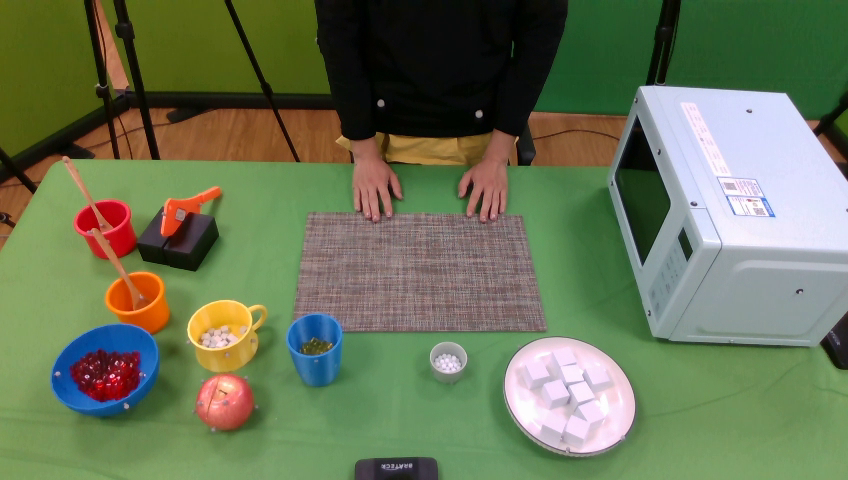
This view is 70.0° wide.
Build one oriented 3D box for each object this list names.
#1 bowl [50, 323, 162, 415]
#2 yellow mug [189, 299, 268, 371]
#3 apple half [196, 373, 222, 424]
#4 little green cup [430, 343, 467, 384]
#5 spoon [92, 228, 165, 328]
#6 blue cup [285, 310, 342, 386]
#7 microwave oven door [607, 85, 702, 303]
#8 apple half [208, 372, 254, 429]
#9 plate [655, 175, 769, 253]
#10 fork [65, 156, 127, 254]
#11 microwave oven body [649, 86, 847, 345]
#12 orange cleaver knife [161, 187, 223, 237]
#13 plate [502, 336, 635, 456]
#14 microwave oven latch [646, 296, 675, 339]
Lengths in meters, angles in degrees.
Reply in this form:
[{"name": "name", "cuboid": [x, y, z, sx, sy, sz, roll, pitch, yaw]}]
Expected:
[{"name": "bowl", "cuboid": [-0.472, 0.209, 0.924, 0.151, 0.077, 0.150, 3, 45, -2]}, {"name": "yellow mug", "cuboid": [-0.316, 0.148, 1.002, 0.131, 0.064, 0.099, -33, 56, -31]}, {"name": "apple half", "cuboid": [-0.322, 0.239, 0.907, 0.033, 0.081, 0.081, 7, 46, -1]}, {"name": "little green cup", "cuboid": [0.039, 0.203, 0.993, 0.061, 0.039, 0.061, 2, 46, -2]}, {"name": "spoon", "cuboid": [-0.496, 0.063, 1.014, 0.041, 0.194, 0.021, -33, 12, -31]}, {"name": "blue cup", "cuboid": [-0.170, 0.179, 0.958, 0.093, 0.101, 0.092, 1, 44, -1]}, {"name": "microwave oven door", "cuboid": [0.423, -0.094, 1.140, 0.039, 0.245, 0.353, 2, 46, -1]}, {"name": "apple half", "cuboid": [-0.283, 0.244, 0.908, 0.053, 0.075, 0.080, 7, 42, -1]}, {"name": "plate", "cuboid": [0.555, -0.047, 1.183, 0.209, 0.038, 0.208, 2, 46, -1]}, {"name": "fork", "cuboid": [-0.614, -0.064, 1.130, 0.028, 0.018, 0.207, -29, 96, -15]}, {"name": "microwave oven body", "cuboid": [0.568, -0.053, 1.118, 0.326, 0.261, 0.439, 2, 45, -1]}, {"name": "orange cleaver knife", "cuboid": [-0.448, -0.058, 1.180, 0.012, 0.077, 0.211, 13, 17, 6]}, {"name": "plate", "cuboid": [0.225, 0.248, 0.963, 0.208, 0.039, 0.206, 2, 46, -2]}, {"name": "microwave oven latch", "cuboid": [0.412, 0.134, 1.061, 0.030, 0.029, 0.078, 4, 45, 1]}]
